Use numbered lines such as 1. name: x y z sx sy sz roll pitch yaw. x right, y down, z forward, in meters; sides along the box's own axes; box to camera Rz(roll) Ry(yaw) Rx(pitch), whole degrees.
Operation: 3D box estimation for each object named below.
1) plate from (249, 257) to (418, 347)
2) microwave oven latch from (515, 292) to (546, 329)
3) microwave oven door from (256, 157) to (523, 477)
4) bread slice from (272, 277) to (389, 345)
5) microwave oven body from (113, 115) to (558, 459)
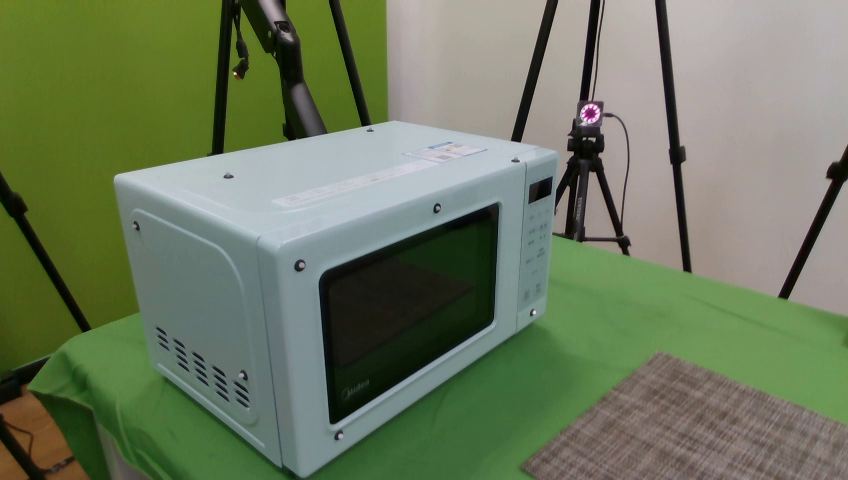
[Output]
1. plate: -0.110 0.078 0.760 0.209 0.038 0.207 -1 22 1
2. microwave oven latch: 0.139 0.094 0.839 0.030 0.030 0.079 20 30 38
3. microwave oven door: -0.010 0.061 0.649 0.039 0.245 0.356 18 29 38
4. bread slice: -0.113 0.081 0.765 0.132 0.019 0.104 -20 30 -34
5. microwave oven body: -0.091 0.019 0.770 0.323 0.262 0.442 19 30 38
